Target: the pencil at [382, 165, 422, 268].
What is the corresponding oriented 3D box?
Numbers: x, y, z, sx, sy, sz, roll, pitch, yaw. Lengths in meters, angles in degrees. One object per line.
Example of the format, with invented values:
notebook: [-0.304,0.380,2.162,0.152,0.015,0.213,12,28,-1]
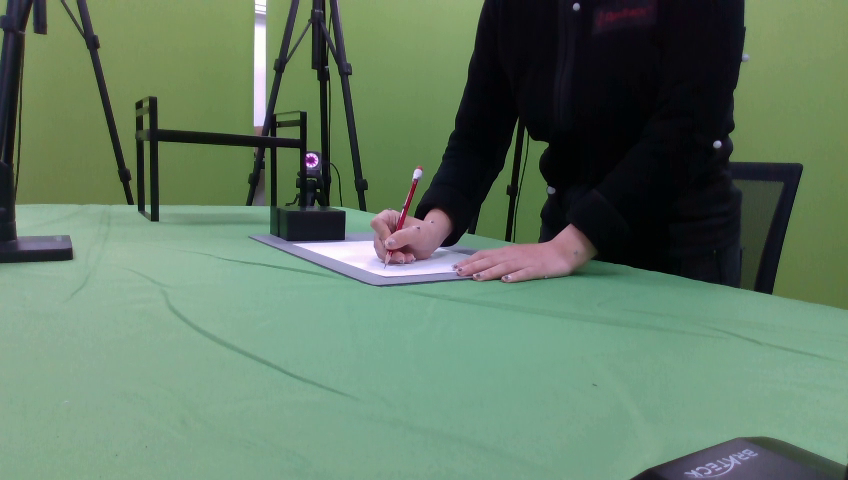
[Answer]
pencil: [-0.030,-0.036,0.829,0.012,0.012,0.194,5,49,15]
